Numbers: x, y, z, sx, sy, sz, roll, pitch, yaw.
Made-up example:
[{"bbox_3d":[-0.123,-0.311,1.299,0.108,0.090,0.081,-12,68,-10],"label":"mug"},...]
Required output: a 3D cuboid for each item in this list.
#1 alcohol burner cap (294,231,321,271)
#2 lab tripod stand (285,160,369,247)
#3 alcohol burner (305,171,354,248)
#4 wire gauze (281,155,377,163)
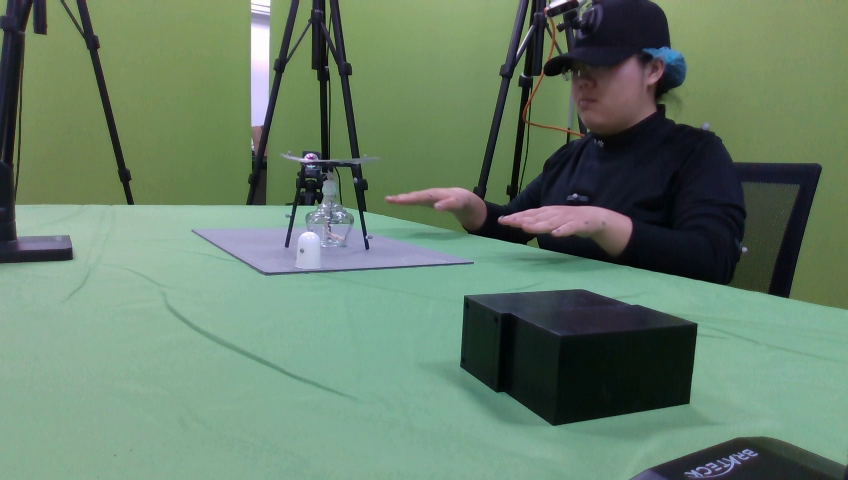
[{"bbox_3d":[-0.144,0.013,0.748,0.034,0.048,0.034,3,6,0],"label":"alcohol burner cap"},{"bbox_3d":[-0.151,-0.058,0.947,0.148,0.131,0.148,1,6,0],"label":"lab tripod stand"},{"bbox_3d":[-0.148,-0.048,0.949,0.078,0.119,0.078,1,6,0],"label":"alcohol burner"},{"bbox_3d":[-0.147,-0.124,0.936,0.122,0.011,0.124,-2,7,-31],"label":"wire gauze"}]
